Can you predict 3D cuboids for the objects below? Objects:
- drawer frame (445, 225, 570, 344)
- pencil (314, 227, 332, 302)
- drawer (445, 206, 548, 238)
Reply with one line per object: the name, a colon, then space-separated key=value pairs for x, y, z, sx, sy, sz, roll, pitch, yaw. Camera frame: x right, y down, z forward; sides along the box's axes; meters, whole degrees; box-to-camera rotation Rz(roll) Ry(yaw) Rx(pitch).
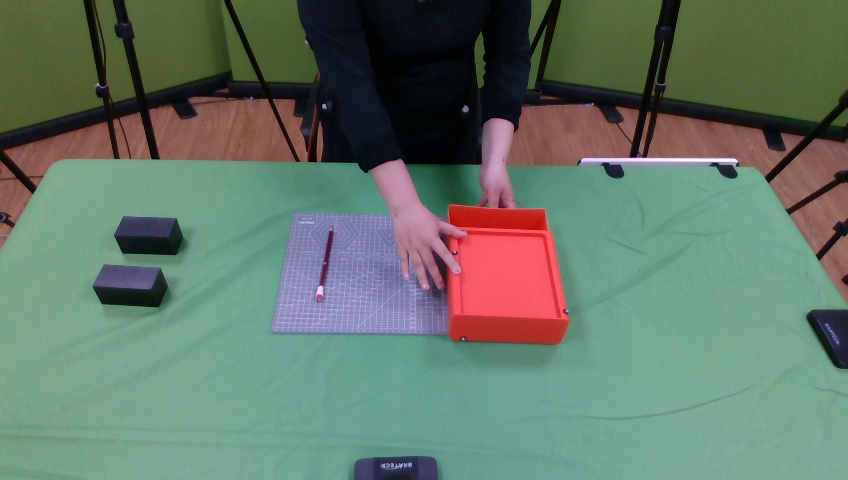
drawer frame: x=0.142 y=0.076 z=1.089 sx=0.202 sy=0.083 sz=0.212 roll=3 pitch=46 yaw=-3
pencil: x=-0.189 y=0.041 z=1.148 sx=0.012 sy=0.012 sz=0.193 roll=3 pitch=44 yaw=-1
drawer: x=0.140 y=0.034 z=1.133 sx=0.194 sy=0.073 sz=0.210 roll=2 pitch=48 yaw=-3
